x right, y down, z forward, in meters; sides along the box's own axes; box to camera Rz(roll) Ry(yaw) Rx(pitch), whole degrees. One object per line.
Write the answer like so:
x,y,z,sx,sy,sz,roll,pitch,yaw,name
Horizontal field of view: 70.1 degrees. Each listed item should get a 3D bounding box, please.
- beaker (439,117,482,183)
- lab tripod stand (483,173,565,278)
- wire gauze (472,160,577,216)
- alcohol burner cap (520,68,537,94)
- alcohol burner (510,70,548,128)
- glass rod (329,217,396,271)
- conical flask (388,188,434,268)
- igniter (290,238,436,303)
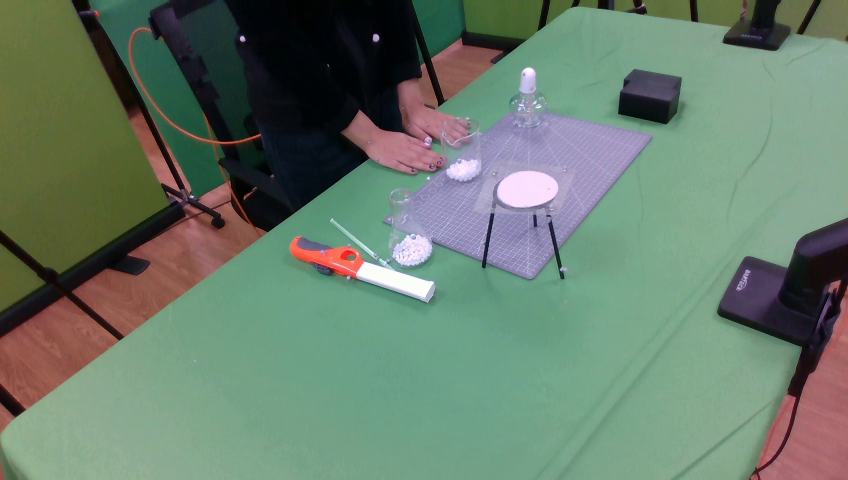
0.068,-0.160,1.097,0.073,0.101,0.084,7,43,19,beaker
0.151,-0.025,0.896,0.148,0.132,0.147,-7,40,6,lab tripod stand
0.143,-0.073,0.850,0.121,0.011,0.125,8,43,22,wire gauze
0.205,-0.313,1.183,0.034,0.048,0.033,-3,50,4,alcohol burner cap
0.209,-0.287,1.208,0.078,0.119,0.077,-5,42,5,alcohol burner
-0.105,0.005,1.009,0.008,0.008,0.198,-32,46,-24,glass rod
-0.028,-0.021,0.937,0.075,0.122,0.075,-6,40,5,conical flask
-0.106,0.044,0.949,0.274,0.025,0.057,16,57,27,igniter
